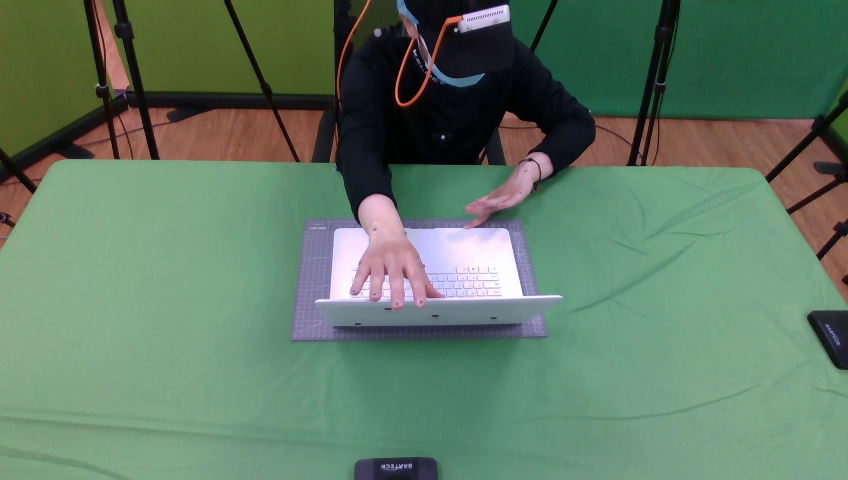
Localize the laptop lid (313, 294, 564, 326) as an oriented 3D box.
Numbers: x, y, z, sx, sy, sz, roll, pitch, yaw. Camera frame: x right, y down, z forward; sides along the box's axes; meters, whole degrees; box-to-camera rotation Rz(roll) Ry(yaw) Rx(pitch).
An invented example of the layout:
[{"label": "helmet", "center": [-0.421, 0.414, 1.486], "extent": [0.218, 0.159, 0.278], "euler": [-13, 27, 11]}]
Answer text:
[{"label": "laptop lid", "center": [0.017, 0.112, 0.944], "extent": [0.357, 0.242, 0.013], "euler": [0, 74, -5]}]

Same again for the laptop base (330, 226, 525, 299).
[{"label": "laptop base", "center": [0.005, 0.061, 1.136], "extent": [0.355, 0.023, 0.234], "euler": [0, 44, -4]}]
